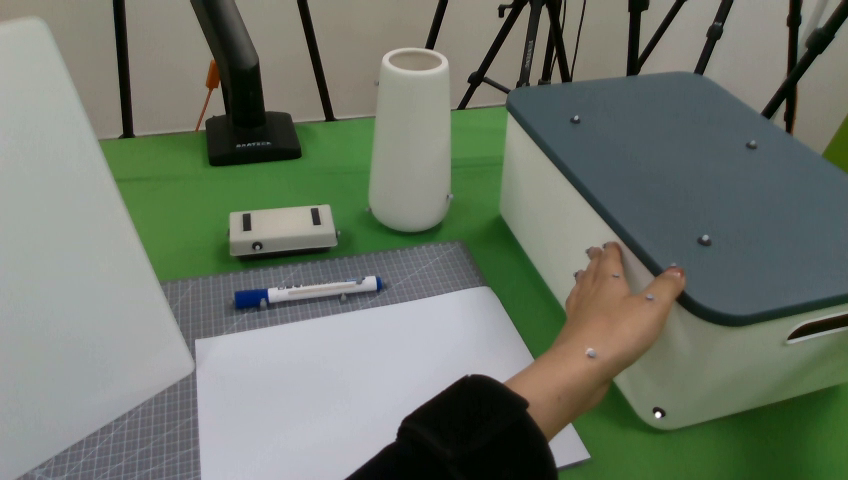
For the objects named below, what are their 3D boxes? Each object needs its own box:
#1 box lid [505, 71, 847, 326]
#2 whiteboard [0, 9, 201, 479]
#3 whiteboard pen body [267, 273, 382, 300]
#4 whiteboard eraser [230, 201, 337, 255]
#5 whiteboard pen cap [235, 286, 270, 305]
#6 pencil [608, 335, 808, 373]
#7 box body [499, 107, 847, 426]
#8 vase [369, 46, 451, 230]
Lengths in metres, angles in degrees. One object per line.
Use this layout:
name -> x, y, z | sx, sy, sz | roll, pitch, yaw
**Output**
box lid -> 0.259, -0.070, 0.569 | 0.264, 0.015, 0.367 | -9, 41, -16
whiteboard -> -0.345, 0.013, 0.453 | 0.217, 0.308, 0.142 | -31, 32, -35
whiteboard pen body -> -0.112, 0.049, 0.615 | 0.141, 0.017, 0.017 | -6, 40, -13
whiteboard eraser -> -0.156, -0.012, 0.669 | 0.113, 0.042, 0.055 | -7, 38, -13
whiteboard pen cap -> -0.170, 0.055, 0.601 | 0.033, 0.018, 0.018 | -4, 39, -15
pencil -> 0.273, 0.111, 0.580 | 0.194, 0.012, 0.012 | 9, 39, 0
box body -> 0.255, -0.013, 0.618 | 0.255, 0.162, 0.359 | -9, 41, -16
vase -> -0.011, -0.109, 0.680 | 0.098, 0.201, 0.097 | 4, 39, -3
